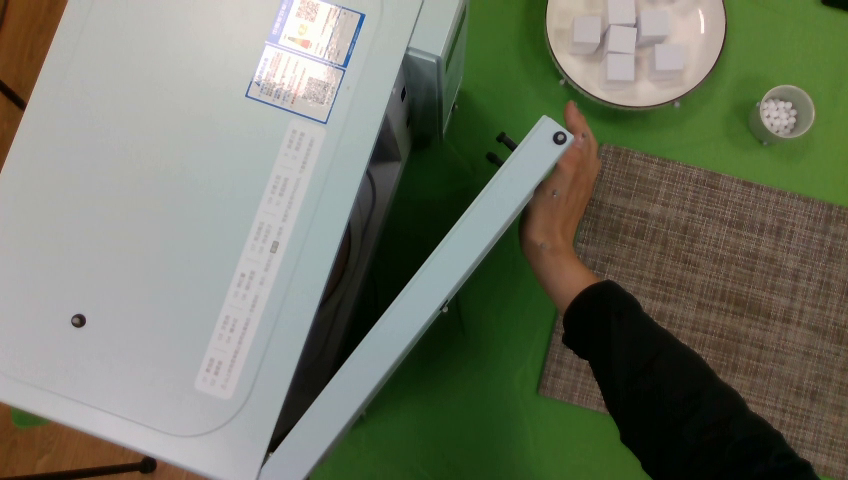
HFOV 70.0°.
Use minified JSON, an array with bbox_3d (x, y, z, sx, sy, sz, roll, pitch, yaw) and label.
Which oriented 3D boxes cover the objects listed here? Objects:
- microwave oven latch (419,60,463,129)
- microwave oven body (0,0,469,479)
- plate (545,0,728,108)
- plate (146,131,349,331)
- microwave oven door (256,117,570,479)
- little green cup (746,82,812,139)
[{"bbox_3d":[0.019,-0.169,0.687,0.030,0.029,0.079,23,87,3],"label":"microwave oven latch"},{"bbox_3d":[-0.180,-0.057,0.586,0.326,0.260,0.441,19,87,2],"label":"microwave oven body"},{"bbox_3d":[0.243,-0.253,0.708,0.207,0.039,0.207,0,85,1],"label":"plate"},{"bbox_3d":[-0.181,-0.009,0.635,0.209,0.038,0.208,0,85,1],"label":"plate"},{"bbox_3d":[-0.006,0.058,0.569,0.039,0.244,0.355,38,87,5],"label":"microwave oven door"},{"bbox_3d":[0.405,-0.146,0.696,0.061,0.039,0.061,0,85,2],"label":"little green cup"}]
